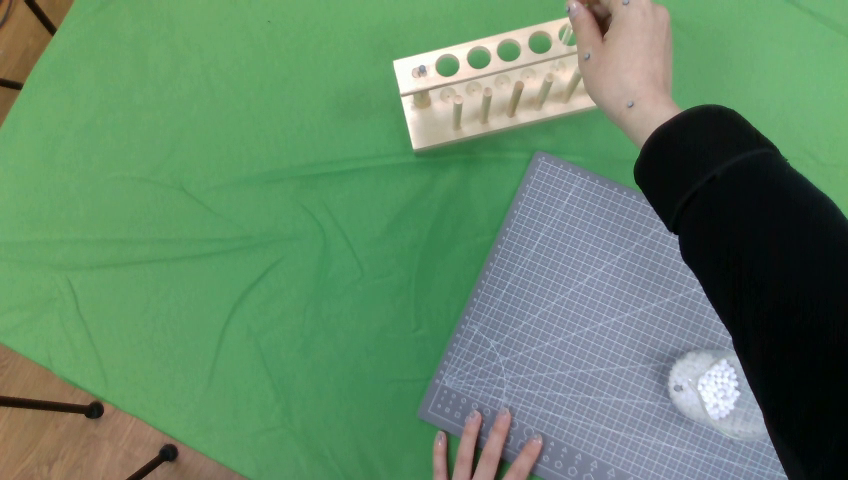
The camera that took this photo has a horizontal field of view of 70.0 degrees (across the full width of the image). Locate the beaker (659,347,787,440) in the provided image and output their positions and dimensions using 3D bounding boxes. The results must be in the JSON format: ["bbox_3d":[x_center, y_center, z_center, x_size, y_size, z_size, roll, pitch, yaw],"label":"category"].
[{"bbox_3d":[0.260,0.133,0.549,0.084,0.100,0.074,13,83,4],"label":"beaker"}]

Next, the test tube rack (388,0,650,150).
[{"bbox_3d":[0.092,-0.159,0.598,0.242,0.085,0.066,-13,82,0],"label":"test tube rack"}]

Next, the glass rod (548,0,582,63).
[{"bbox_3d":[0.125,-0.190,0.515,0.008,0.200,0.008,0,85,2],"label":"glass rod"}]
